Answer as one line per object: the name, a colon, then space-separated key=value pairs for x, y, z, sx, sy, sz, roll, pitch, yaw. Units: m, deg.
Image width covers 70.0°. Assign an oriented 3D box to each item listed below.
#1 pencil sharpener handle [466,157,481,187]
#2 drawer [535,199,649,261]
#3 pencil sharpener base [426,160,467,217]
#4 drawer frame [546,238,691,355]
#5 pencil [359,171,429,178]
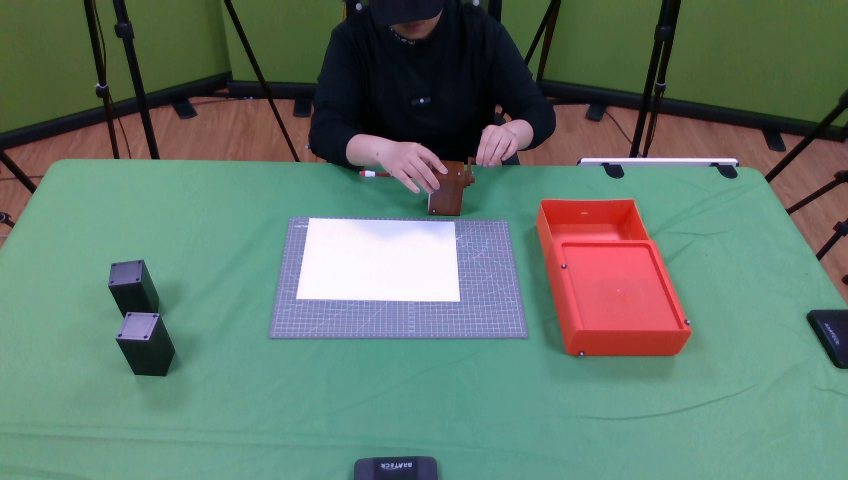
pencil sharpener handle: x=0.100 y=-0.136 z=1.230 sx=0.030 sy=0.036 sz=0.067 roll=4 pitch=74 yaw=-1
drawer: x=0.332 y=0.015 z=1.169 sx=0.195 sy=0.073 sz=0.210 roll=0 pitch=46 yaw=-5
pencil sharpener base: x=0.046 y=-0.105 z=1.244 sx=0.077 sy=0.107 sz=0.061 roll=4 pitch=46 yaw=-1
drawer frame: x=0.338 y=0.097 z=1.086 sx=0.202 sy=0.083 sz=0.212 roll=0 pitch=46 yaw=-4
pencil: x=-0.033 y=-0.130 z=1.225 sx=0.194 sy=0.012 sz=0.012 roll=2 pitch=45 yaw=-3
